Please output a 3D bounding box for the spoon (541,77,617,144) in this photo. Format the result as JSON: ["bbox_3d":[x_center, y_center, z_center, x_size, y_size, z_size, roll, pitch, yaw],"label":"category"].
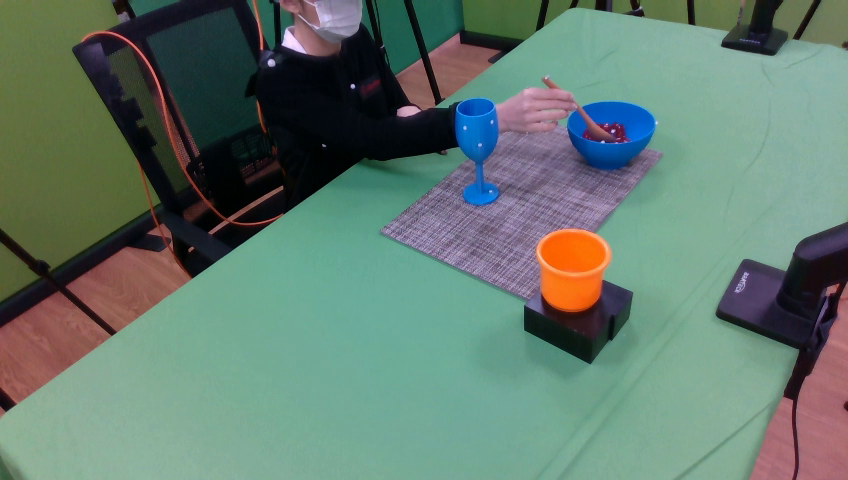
[{"bbox_3d":[0.262,-0.217,1.023,0.021,0.195,0.041,-58,29,-7],"label":"spoon"}]

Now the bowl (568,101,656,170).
[{"bbox_3d":[0.332,-0.179,1.084,0.151,0.077,0.150,-4,40,4],"label":"bowl"}]

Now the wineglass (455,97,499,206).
[{"bbox_3d":[0.091,-0.145,1.009,0.074,0.173,0.073,-5,40,4],"label":"wineglass"}]
